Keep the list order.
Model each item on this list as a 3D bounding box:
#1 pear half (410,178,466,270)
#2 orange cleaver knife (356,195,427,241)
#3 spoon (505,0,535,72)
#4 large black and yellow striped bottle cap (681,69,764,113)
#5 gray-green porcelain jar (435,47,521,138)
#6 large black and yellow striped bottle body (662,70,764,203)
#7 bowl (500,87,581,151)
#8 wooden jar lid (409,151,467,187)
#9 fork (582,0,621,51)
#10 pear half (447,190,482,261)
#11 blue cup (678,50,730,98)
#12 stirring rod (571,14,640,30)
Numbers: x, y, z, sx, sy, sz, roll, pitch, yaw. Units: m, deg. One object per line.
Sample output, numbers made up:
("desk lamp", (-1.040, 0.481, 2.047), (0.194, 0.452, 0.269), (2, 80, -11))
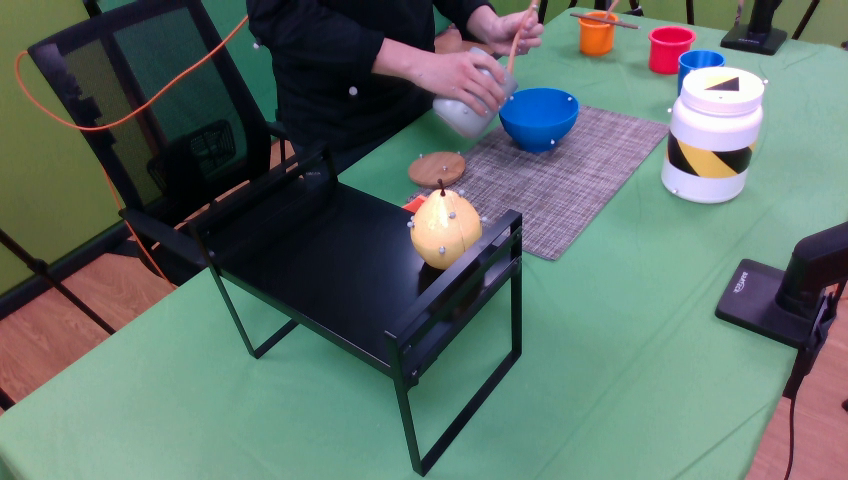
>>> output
("pear half", (0.011, -0.019, 0.654), (0.056, 0.110, 0.076), (-16, 37, -9))
("orange cleaver knife", (-0.037, -0.029, 0.973), (0.210, 0.077, 0.012), (-8, 33, 50))
("spoon", (0.157, -0.337, 1.051), (0.021, 0.193, 0.042), (22, 10, 30))
("large black and yellow striped bottle cap", (0.453, -0.229, 0.921), (0.115, 0.019, 0.114), (-4, 39, 4))
("gray-green porcelain jar", (0.090, -0.253, 1.060), (0.126, 0.107, 0.105), (-52, 47, 6))
("large black and yellow striped bottle body", (0.464, -0.166, 0.976), (0.131, 0.185, 0.130), (-5, 41, 5))
("bowl", (0.220, -0.223, 1.156), (0.151, 0.077, 0.150), (-4, 41, 4))
("wooden jar lid", (0.026, -0.131, 1.124), (0.108, 0.021, 0.108), (-8, 36, 6))
("fork", (0.446, -0.539, 1.438), (0.207, 0.019, 0.028), (-57, 36, 12))
("pear half", (0.046, -0.020, 0.664), (0.031, 0.088, 0.070), (-17, 38, -9))
("blue cup", (0.542, -0.310, 1.194), (0.092, 0.101, 0.092), (-6, 41, 6))
("stirring rod", (0.419, -0.508, 1.404), (0.174, 0.006, 0.014), (28, 55, 35))
